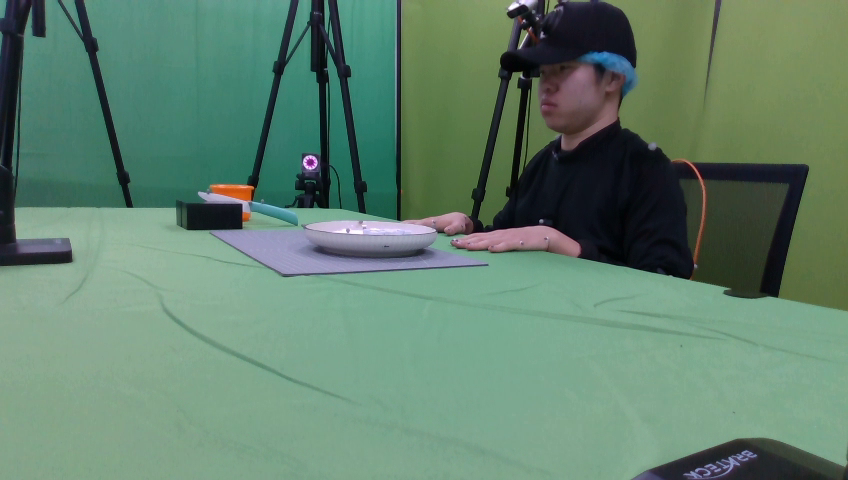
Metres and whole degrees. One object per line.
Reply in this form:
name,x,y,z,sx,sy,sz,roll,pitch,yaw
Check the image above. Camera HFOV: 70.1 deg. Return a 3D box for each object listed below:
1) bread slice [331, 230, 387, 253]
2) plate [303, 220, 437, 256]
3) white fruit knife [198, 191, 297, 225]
bread slice,-0.088,0.000,0.947,0.105,0.019,0.131,-3,11,-45
plate,-0.084,-0.003,0.951,0.209,0.038,0.209,3,7,0
white fruit knife,-0.351,-0.068,1.224,0.208,0.027,0.016,15,-1,-33
